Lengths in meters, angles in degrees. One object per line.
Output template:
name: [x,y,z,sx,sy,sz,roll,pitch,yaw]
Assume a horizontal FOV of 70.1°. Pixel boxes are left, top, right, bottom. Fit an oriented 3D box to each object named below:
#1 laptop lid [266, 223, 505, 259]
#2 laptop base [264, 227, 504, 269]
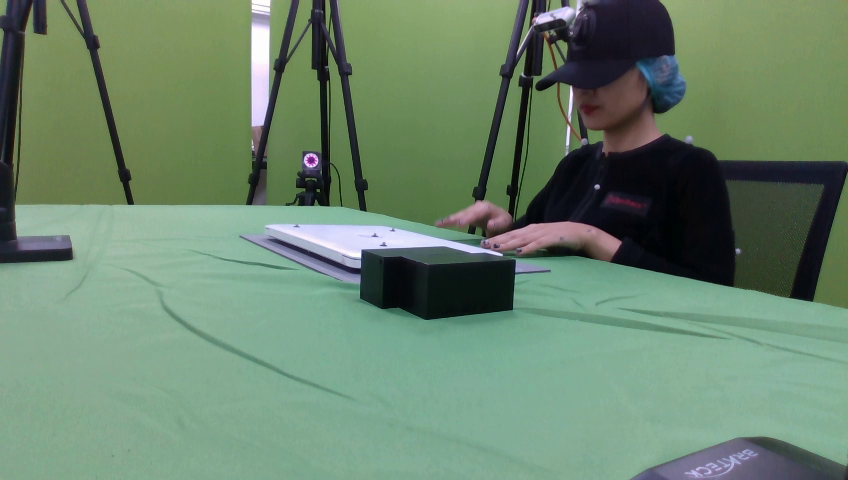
laptop lid: [-0.074,-0.003,0.914,0.243,0.013,0.355,1,7,-31]
laptop base: [-0.077,0.009,0.914,0.237,0.023,0.352,2,6,-33]
